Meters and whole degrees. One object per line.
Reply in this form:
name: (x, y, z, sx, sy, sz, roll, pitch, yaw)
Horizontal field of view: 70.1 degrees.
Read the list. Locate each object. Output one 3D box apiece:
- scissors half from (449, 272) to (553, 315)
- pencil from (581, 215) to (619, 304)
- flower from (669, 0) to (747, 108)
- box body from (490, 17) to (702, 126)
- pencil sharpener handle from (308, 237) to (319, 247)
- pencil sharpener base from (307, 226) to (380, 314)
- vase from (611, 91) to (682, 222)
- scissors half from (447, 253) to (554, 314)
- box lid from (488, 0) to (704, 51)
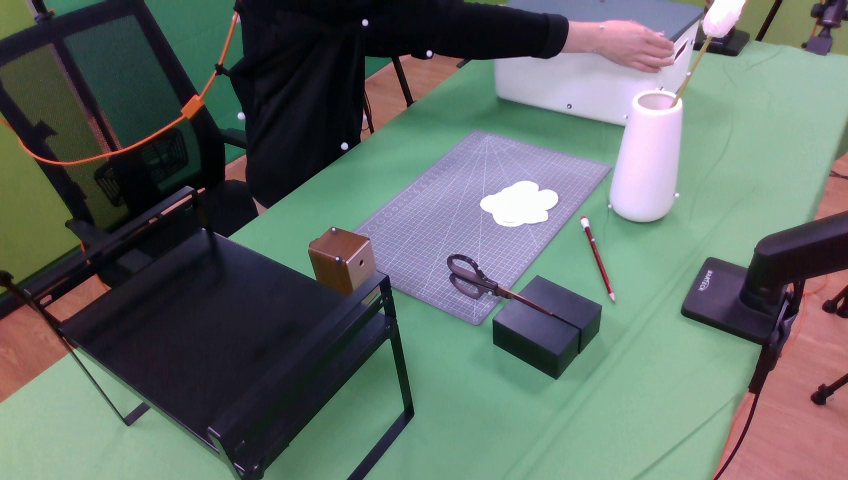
scissors half: (0.104, 0.076, 0.834, 0.173, 0.040, 0.013, 15, 48, 42)
pencil: (0.266, 0.025, 0.917, 0.012, 0.012, 0.193, -6, 41, 1)
flower: (0.355, -0.187, 0.880, 0.038, 0.362, 0.044, 30, 48, 14)
box body: (0.351, -0.385, 1.268, 0.361, 0.161, 0.255, 21, 48, 29)
pencil sharpener handle: (-0.159, 0.017, 0.892, 0.030, 0.068, 0.036, 18, 61, 28)
pencil sharpener base: (-0.116, 0.043, 0.875, 0.076, 0.107, 0.061, 18, 47, 27)
vase: (0.348, -0.125, 0.935, 0.098, 0.201, 0.097, -3, 40, 3)
scissors half: (0.101, 0.060, 0.821, 0.174, 0.040, 0.013, 29, 50, 29)
box lid: (0.343, -0.451, 1.210, 0.368, 0.015, 0.264, 22, 44, 29)
